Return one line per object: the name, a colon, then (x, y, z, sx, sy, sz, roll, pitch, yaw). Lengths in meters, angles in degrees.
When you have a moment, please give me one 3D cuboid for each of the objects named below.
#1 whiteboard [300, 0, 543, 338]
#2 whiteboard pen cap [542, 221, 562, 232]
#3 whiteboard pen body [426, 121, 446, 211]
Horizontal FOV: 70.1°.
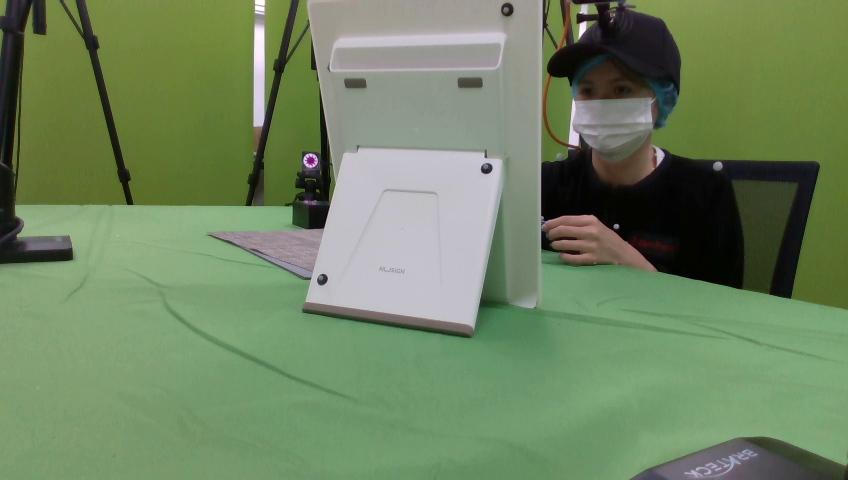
whiteboard: (-0.020, -0.050, 0.523, 0.216, 0.305, 0.144, 6, 27, 22)
whiteboard pen cap: (0.193, -0.021, 0.926, 0.033, 0.018, 0.018, 0, 5, 35)
whiteboard pen body: (0.013, -0.081, 0.651, 0.017, 0.017, 0.140, 3, 48, 3)
